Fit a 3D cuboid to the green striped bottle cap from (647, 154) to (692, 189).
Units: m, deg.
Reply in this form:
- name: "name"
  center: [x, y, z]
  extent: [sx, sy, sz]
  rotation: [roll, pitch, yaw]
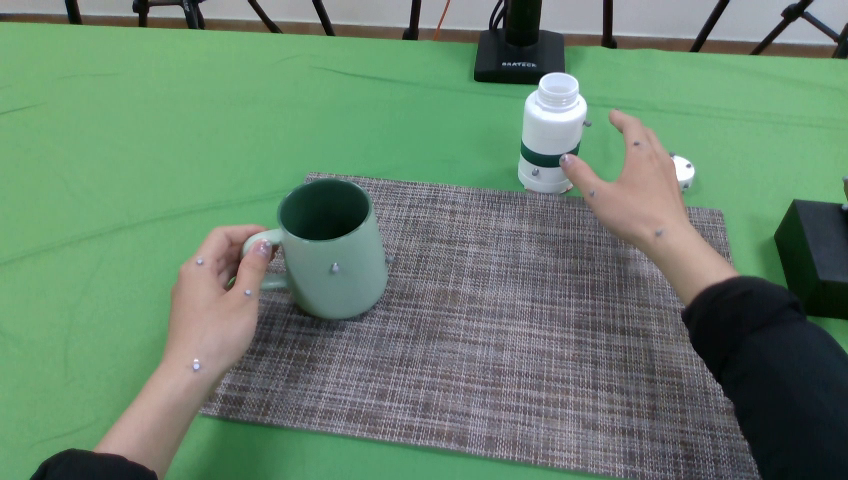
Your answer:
- name: "green striped bottle cap"
  center: [0.270, -0.075, 0.666]
  extent: [0.044, 0.020, 0.044]
  rotation: [1, 44, 0]

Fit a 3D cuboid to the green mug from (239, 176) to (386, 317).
- name: "green mug"
  center: [-0.098, 0.011, 0.535]
  extent: [0.125, 0.106, 0.091]
  rotation: [-14, 49, -10]

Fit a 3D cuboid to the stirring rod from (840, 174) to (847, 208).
- name: "stirring rod"
  center: [0.382, 0.003, 0.523]
  extent: [0.006, 0.014, 0.175]
  rotation: [6, 48, 13]

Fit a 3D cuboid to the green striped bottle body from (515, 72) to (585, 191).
- name: "green striped bottle body"
  center: [0.132, -0.115, 0.638]
  extent: [0.063, 0.120, 0.062]
  rotation: [-1, 47, 1]
